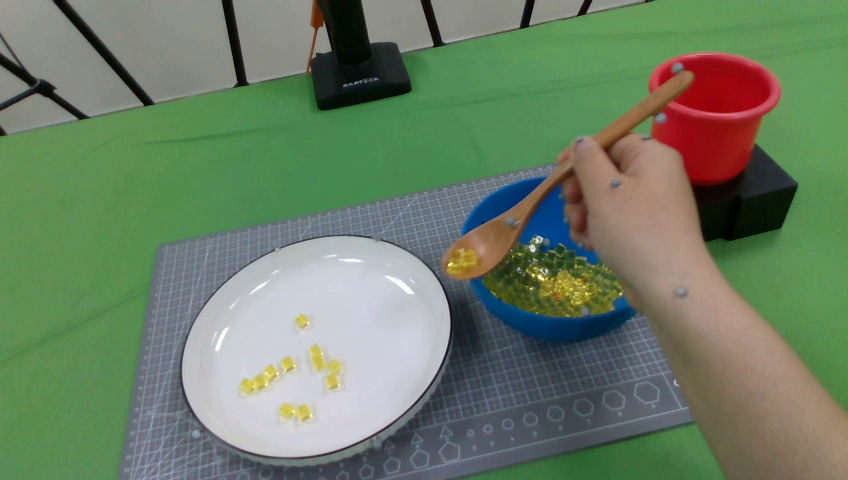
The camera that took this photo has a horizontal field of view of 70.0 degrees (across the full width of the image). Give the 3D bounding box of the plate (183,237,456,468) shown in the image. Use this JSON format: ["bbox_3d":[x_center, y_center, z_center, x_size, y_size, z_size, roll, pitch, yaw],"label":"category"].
[{"bbox_3d":[-0.077,0.082,0.474,0.207,0.039,0.205,-4,45,5],"label":"plate"}]

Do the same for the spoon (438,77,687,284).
[{"bbox_3d":[0.084,-0.035,0.385,0.194,0.022,0.041,-43,36,19],"label":"spoon"}]

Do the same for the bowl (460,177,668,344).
[{"bbox_3d":[0.104,0.028,0.471,0.151,0.077,0.150,-4,45,5],"label":"bowl"}]
